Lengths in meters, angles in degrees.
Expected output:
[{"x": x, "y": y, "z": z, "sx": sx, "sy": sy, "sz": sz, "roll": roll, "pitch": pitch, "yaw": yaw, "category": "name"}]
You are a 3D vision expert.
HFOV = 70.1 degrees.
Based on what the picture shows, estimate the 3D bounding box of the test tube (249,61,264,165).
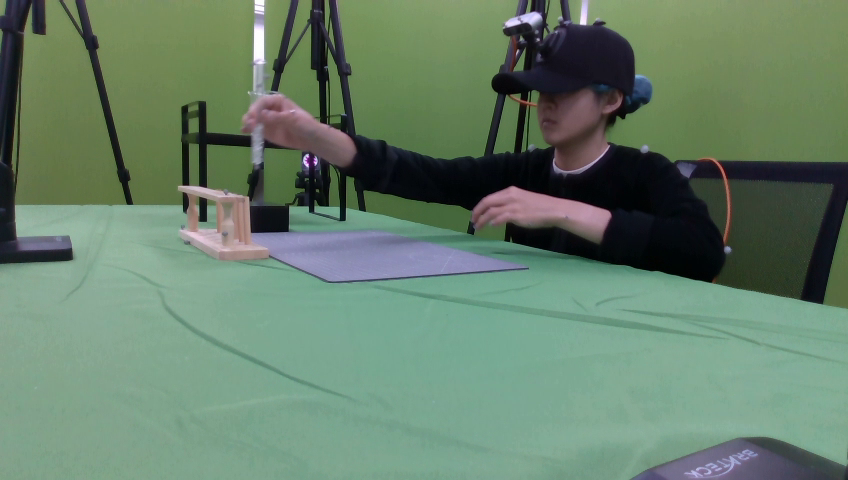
[{"x": -0.242, "y": -0.183, "z": 0.875, "sx": 0.017, "sy": 0.150, "sz": 0.017, "roll": 3, "pitch": 1, "yaw": 0, "category": "test tube"}]

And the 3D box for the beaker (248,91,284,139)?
[{"x": -0.353, "y": -0.277, "z": 1.343, "sx": 0.073, "sy": 0.100, "sz": 0.084, "roll": 8, "pitch": 9, "yaw": 39, "category": "beaker"}]

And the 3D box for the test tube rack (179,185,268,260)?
[{"x": -0.303, "y": -0.031, "z": 0.898, "sx": 0.067, "sy": 0.085, "sz": 0.241, "roll": -2, "pitch": 9, "yaw": -33, "category": "test tube rack"}]
